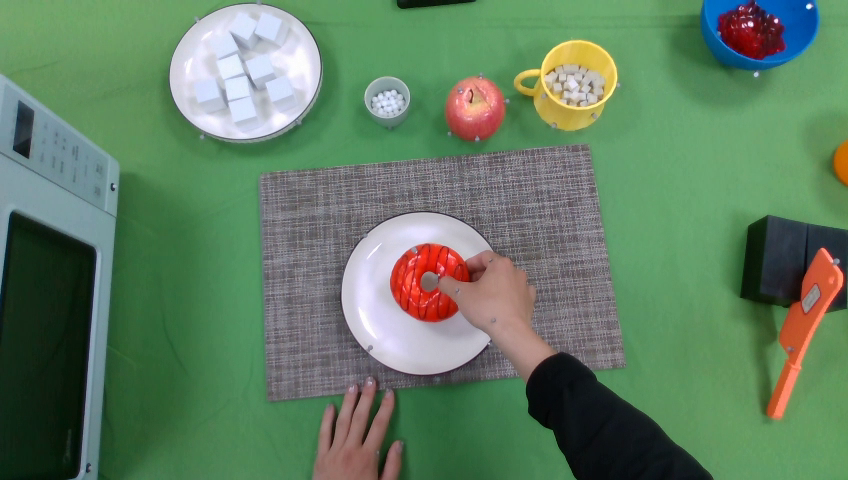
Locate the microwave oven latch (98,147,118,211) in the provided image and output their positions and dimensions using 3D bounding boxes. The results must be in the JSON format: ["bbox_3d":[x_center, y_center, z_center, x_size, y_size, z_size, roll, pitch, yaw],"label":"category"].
[{"bbox_3d":[-0.416,-0.079,0.784,0.030,0.029,0.079,-1,77,0],"label":"microwave oven latch"}]

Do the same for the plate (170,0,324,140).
[{"bbox_3d":[-0.240,-0.231,0.837,0.208,0.039,0.206,0,77,0],"label":"plate"}]

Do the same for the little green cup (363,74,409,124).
[{"bbox_3d":[-0.050,-0.190,0.827,0.061,0.039,0.061,0,77,1],"label":"little green cup"}]

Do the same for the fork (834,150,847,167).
[{"bbox_3d":[0.630,-0.118,0.748,0.206,0.019,0.028,-9,69,43],"label":"fork"}]

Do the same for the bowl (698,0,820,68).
[{"bbox_3d":[0.440,-0.293,0.827,0.151,0.077,0.150,0,77,1],"label":"bowl"}]

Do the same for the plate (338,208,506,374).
[{"bbox_3d":[-0.002,0.063,0.764,0.209,0.038,0.208,0,77,1],"label":"plate"}]

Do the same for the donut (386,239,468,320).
[{"bbox_3d":[0.004,0.048,0.732,0.099,0.048,0.099,0,90,4],"label":"donut"}]

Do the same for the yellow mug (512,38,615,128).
[{"bbox_3d":[0.184,-0.211,0.816,0.131,0.064,0.099,5,77,2],"label":"yellow mug"}]

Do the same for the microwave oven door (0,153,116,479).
[{"bbox_3d":[-0.411,0.110,0.636,0.039,0.245,0.354,-3,77,0],"label":"microwave oven door"}]

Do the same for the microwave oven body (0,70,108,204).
[{"bbox_3d":[-0.559,0.076,0.650,0.326,0.261,0.439,-2,77,-1],"label":"microwave oven body"}]

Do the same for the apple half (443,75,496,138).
[{"bbox_3d":[0.054,-0.169,0.804,0.053,0.075,0.080,-32,82,-2],"label":"apple half"}]

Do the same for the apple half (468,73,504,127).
[{"bbox_3d":[0.087,-0.190,0.807,0.033,0.081,0.081,-32,78,-2],"label":"apple half"}]

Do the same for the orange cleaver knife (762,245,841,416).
[{"bbox_3d":[0.445,0.110,0.728,0.012,0.077,0.212,13,109,6],"label":"orange cleaver knife"}]
